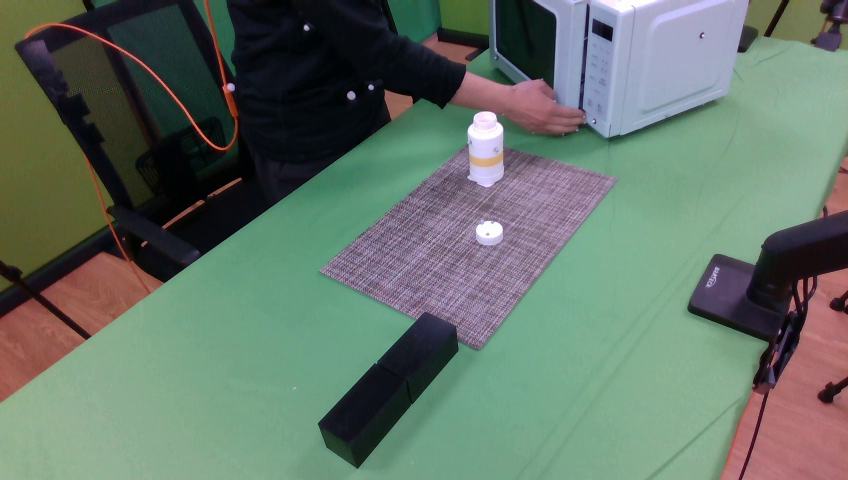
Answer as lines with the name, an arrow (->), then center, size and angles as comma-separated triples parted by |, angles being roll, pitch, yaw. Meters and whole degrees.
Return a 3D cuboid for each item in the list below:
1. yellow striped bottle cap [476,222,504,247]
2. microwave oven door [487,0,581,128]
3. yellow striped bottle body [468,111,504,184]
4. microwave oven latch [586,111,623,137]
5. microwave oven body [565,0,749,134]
yellow striped bottle cap -> 0.105, -0.010, 0.966 | 0.044, 0.019, 0.044 | -3, 39, 3
microwave oven door -> 0.214, -0.414, 1.226 | 0.039, 0.245, 0.353 | -17, 41, -12
yellow striped bottle body -> 0.110, -0.165, 1.064 | 0.063, 0.121, 0.062 | -4, 41, 4
microwave oven latch -> 0.339, -0.222, 1.142 | 0.030, 0.029, 0.078 | -19, 41, -12
microwave oven body -> 0.382, -0.444, 1.246 | 0.327, 0.261, 0.437 | -22, 42, -16
